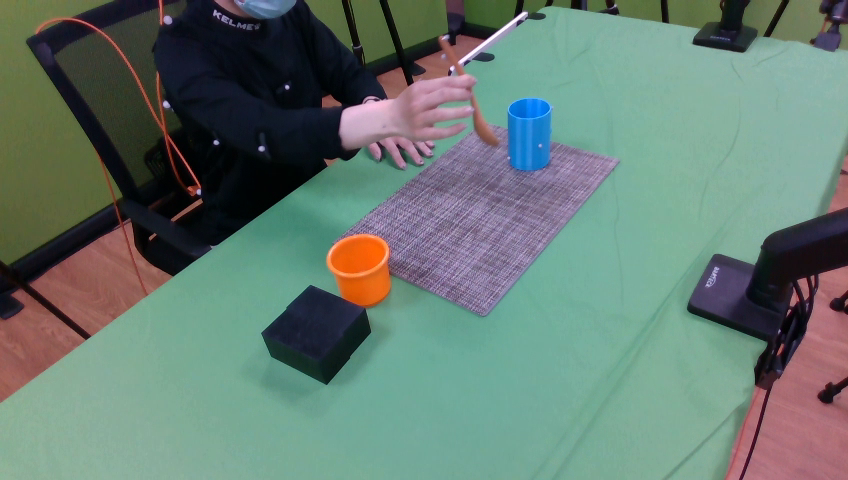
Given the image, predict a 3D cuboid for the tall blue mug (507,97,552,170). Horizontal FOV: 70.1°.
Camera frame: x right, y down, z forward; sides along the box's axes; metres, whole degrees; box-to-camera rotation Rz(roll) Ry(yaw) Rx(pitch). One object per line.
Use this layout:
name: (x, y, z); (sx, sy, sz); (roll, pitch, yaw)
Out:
tall blue mug: (0.179, -0.198, 1.101); (0.078, 0.108, 0.106); (-36, 49, -28)

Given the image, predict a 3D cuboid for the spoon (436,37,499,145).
spoon: (0.064, -0.214, 0.890); (0.022, 0.195, 0.041); (-41, 34, -16)
